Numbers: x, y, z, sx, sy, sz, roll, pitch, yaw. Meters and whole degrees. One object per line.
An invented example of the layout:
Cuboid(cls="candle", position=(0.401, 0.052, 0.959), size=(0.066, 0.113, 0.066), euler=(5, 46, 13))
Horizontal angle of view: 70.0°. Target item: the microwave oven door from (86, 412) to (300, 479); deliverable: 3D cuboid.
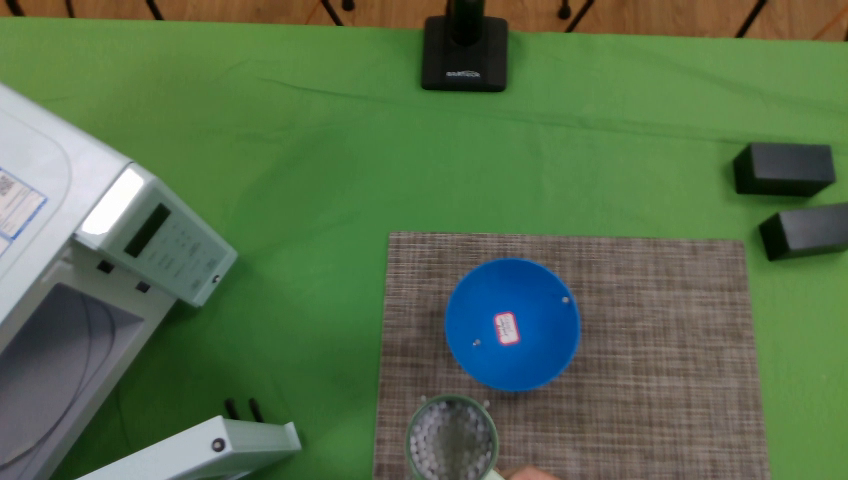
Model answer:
Cuboid(cls="microwave oven door", position=(-0.310, 0.250, 0.561), size=(0.356, 0.245, 0.039), euler=(-24, 74, -7))

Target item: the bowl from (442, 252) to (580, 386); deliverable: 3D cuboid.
Cuboid(cls="bowl", position=(0.096, 0.097, 0.702), size=(0.151, 0.077, 0.150), euler=(0, 72, 1))

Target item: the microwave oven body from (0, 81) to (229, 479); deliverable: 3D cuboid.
Cuboid(cls="microwave oven body", position=(-0.482, 0.076, 0.624), size=(0.325, 0.261, 0.440), euler=(29, 76, 9))

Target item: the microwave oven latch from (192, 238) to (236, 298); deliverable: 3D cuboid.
Cuboid(cls="microwave oven latch", position=(-0.262, 0.030, 0.736), size=(0.030, 0.029, 0.079), euler=(31, 76, 10))

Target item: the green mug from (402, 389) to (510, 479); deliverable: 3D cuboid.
Cuboid(cls="green mug", position=(0.036, 0.194, 0.557), size=(0.124, 0.105, 0.092), euler=(38, 75, 14))
